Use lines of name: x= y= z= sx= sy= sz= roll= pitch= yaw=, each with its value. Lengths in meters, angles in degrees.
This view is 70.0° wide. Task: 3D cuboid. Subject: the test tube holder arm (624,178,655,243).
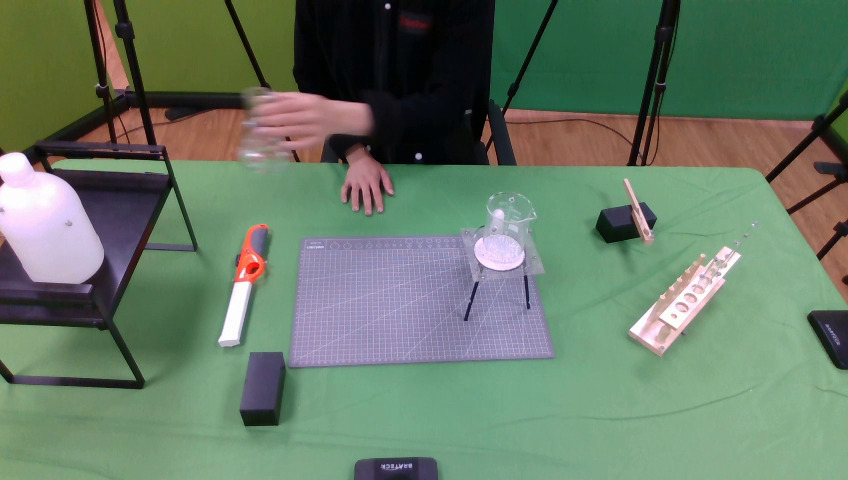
test tube holder arm: x=0.433 y=-0.062 z=1.220 sx=0.013 sy=0.015 sz=0.177 roll=0 pitch=47 yaw=-2

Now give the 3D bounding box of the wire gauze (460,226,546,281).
wire gauze: x=0.130 y=0.017 z=1.016 sx=0.121 sy=0.011 sz=0.124 roll=-4 pitch=43 yaw=-9

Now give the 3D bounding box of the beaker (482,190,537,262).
beaker: x=0.136 y=-0.019 z=0.983 sx=0.084 sy=0.101 sz=0.073 roll=17 pitch=47 yaw=14

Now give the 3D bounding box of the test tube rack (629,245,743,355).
test tube rack: x=0.474 y=0.095 z=1.091 sx=0.242 sy=0.085 sz=0.066 roll=-34 pitch=56 yaw=-31

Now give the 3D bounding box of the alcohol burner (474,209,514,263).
alcohol burner: x=0.134 y=-0.013 z=1.150 sx=0.078 sy=0.120 sz=0.077 roll=0 pitch=47 yaw=0

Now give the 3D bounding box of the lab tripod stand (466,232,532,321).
lab tripod stand: x=0.125 y=0.060 z=1.065 sx=0.148 sy=0.132 sz=0.147 roll=1 pitch=45 yaw=0

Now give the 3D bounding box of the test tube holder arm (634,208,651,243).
test tube holder arm: x=0.428 y=-0.030 z=1.189 sx=0.010 sy=0.015 sz=0.087 roll=1 pitch=47 yaw=-2

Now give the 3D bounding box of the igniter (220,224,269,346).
igniter: x=-0.323 y=0.072 z=1.101 sx=0.057 sy=0.025 sz=0.275 roll=-6 pitch=46 yaw=5

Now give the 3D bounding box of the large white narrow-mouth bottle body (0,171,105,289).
large white narrow-mouth bottle body: x=-0.513 y=-0.029 z=0.818 sx=0.102 sy=0.195 sz=0.101 roll=2 pitch=46 yaw=-2

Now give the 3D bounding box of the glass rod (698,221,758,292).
glass rod: x=0.527 y=0.035 z=1.060 sx=0.008 sy=0.200 sz=0.008 roll=5 pitch=49 yaw=-6

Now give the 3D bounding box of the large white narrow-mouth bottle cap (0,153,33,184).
large white narrow-mouth bottle cap: x=-0.510 y=-0.089 z=0.754 sx=0.038 sy=0.024 sz=0.037 roll=2 pitch=46 yaw=-2

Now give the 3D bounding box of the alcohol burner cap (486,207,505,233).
alcohol burner cap: x=0.135 y=-0.039 z=1.125 sx=0.034 sy=0.048 sz=0.033 roll=5 pitch=42 yaw=-4

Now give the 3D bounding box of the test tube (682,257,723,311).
test tube: x=0.475 y=0.080 z=1.037 sx=0.017 sy=0.151 sz=0.017 roll=1 pitch=50 yaw=-1

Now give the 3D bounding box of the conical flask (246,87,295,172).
conical flask: x=-0.234 y=-0.169 z=0.914 sx=0.075 sy=0.122 sz=0.075 roll=6 pitch=46 yaw=-6
